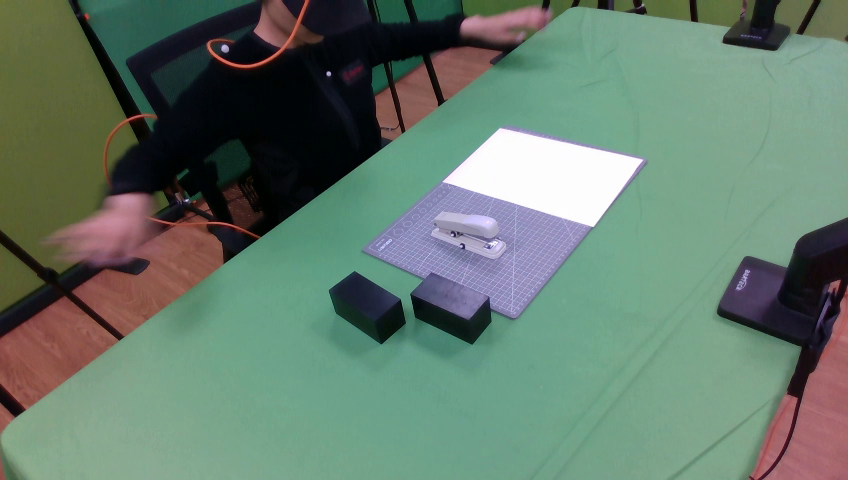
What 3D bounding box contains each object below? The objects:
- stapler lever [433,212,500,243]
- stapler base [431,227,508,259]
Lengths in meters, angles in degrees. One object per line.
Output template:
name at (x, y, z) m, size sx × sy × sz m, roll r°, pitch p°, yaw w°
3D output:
stapler lever at (0.067, -0.026, 0.957) m, size 0.117 × 0.040 × 0.027 m, roll 20°, pitch 46°, yaw 32°
stapler base at (0.072, -0.007, 0.972) m, size 0.129 × 0.024 × 0.041 m, roll 20°, pitch 45°, yaw 32°
